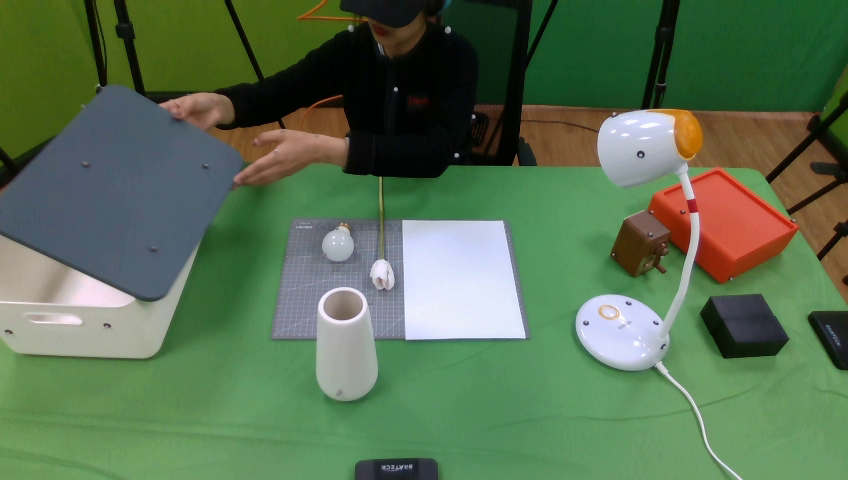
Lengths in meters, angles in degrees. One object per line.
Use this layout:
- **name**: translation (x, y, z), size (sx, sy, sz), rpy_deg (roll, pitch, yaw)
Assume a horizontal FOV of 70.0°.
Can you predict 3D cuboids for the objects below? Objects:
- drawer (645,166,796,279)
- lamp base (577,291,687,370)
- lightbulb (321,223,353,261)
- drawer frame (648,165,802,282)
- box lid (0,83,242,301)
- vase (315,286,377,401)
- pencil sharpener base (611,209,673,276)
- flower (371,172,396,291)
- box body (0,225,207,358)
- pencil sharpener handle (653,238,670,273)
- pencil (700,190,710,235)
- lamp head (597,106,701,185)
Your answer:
- **drawer**: translation (0.600, -0.041, 1.236), size (0.195, 0.073, 0.210), rpy_deg (-21, 51, -23)
- **lamp base**: translation (0.361, 0.110, 1.003), size (0.160, 0.181, 0.178), rpy_deg (-30, 57, -28)
- **lightbulb**: translation (-0.163, -0.001, 1.164), size (0.059, 0.060, 0.107), rpy_deg (4, 30, 0)
- **drawer frame**: translation (0.603, -0.040, 1.233), size (0.202, 0.083, 0.212), rpy_deg (-21, 51, -23)
- **box lid**: translation (-0.469, -0.093, 0.975), size (0.264, 0.015, 0.369), rpy_deg (30, 43, -18)
- **vase**: translation (-0.119, 0.159, 0.911), size (0.098, 0.201, 0.097), rpy_deg (2, 47, -2)
- **pencil sharpener base**: translation (0.416, 0.007, 1.158), size (0.061, 0.107, 0.076), rpy_deg (-21, 51, -22)
- **flower**: translation (-0.090, -0.034, 1.228), size (0.044, 0.038, 0.359), rpy_deg (22, 35, -25)
- **box body**: translation (-0.546, 0.017, 1.045), size (0.254, 0.161, 0.361), rpy_deg (2, 46, -2)
- **pencil sharpener handle**: translation (0.444, 0.030, 1.120), size (0.036, 0.068, 0.030), rpy_deg (-25, 52, -18)
- **pencil**: translation (0.584, -0.059, 1.256), size (0.012, 0.012, 0.193), rpy_deg (16, 35, 12)
- **lamp head**: translation (0.328, -0.138, 0.865), size (0.112, 0.113, 0.122), rpy_deg (-36, 20, -32)
